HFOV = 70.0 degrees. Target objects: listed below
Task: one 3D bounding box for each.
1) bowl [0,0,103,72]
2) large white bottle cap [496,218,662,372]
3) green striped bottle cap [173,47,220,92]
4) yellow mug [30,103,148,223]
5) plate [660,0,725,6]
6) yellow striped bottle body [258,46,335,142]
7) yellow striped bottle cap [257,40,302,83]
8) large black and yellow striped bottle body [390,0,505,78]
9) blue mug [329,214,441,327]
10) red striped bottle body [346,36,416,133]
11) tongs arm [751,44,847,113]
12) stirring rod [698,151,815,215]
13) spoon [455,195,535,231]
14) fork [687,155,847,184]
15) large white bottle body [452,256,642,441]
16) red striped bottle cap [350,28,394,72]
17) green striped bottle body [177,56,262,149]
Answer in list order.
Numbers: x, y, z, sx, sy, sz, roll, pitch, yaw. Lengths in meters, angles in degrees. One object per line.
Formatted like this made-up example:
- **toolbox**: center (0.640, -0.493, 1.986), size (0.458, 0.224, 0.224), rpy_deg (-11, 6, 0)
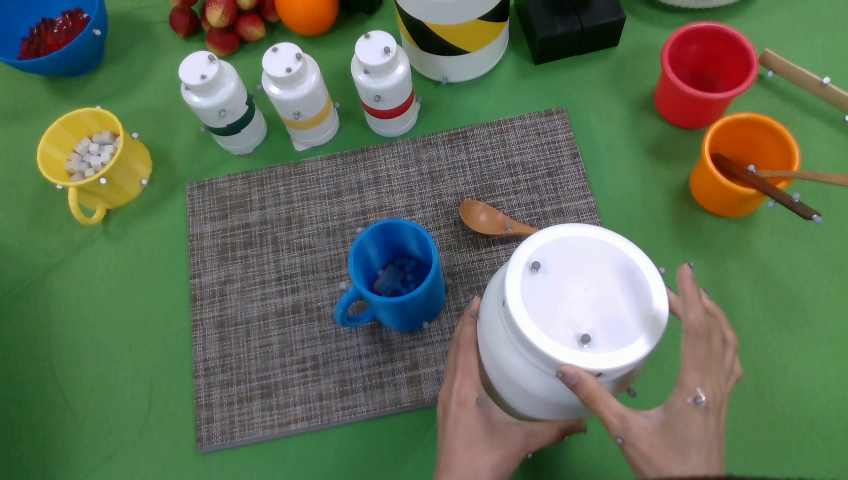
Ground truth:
- **bowl**: center (-0.465, -0.266, 0.759), size (0.151, 0.077, 0.150), rpy_deg (-1, 69, 4)
- **large white bottle cap**: center (0.109, 0.035, 0.426), size (0.115, 0.018, 0.114), rpy_deg (2, 59, -3)
- **green striped bottle cap**: center (-0.235, -0.176, 0.626), size (0.044, 0.020, 0.044), rpy_deg (-1, 68, 3)
- **yellow mug**: center (-0.381, -0.082, 0.688), size (0.100, 0.064, 0.130), rpy_deg (-2, 69, 4)
- **plate**: center (0.327, -0.372, 0.753), size (0.209, 0.038, 0.207), rpy_deg (-1, 70, 4)
- **yellow striped bottle body**: center (-0.142, -0.165, 0.670), size (0.063, 0.121, 0.062), rpy_deg (-2, 68, 5)
- **yellow striped bottle cap**: center (-0.148, -0.184, 0.621), size (0.044, 0.019, 0.044), rpy_deg (0, 64, 1)
- **large black and yellow striped bottle body**: center (0.024, -0.284, 0.667), size (0.131, 0.185, 0.130), rpy_deg (-2, 69, 5)
- **blue mug**: center (-0.041, 0.042, 0.587), size (0.116, 0.106, 0.081), rpy_deg (-36, 70, -8)
- **red striped bottle body**: center (-0.047, -0.175, 0.666), size (0.063, 0.120, 0.062), rpy_deg (-3, 68, 7)
- **tongs arm**: center (0.532, -0.114, 0.639), size (0.382, 0.027, 0.050), rpy_deg (39, 73, 16)
- **stirring rod**: center (0.313, -0.059, 0.583), size (0.014, 0.006, 0.174), rpy_deg (-9, 25, -2)
- **spoon**: center (0.124, -0.007, 0.636), size (0.193, 0.022, 0.041), rpy_deg (18, 51, 11)
- **fork**: center (0.344, -0.063, 0.574), size (0.028, 0.019, 0.205), rpy_deg (-49, 29, -13)
- **large white bottle body**: center (0.100, 0.082, 0.504), size (0.131, 0.186, 0.129), rpy_deg (3, 58, -5)
- **red striped bottle cap**: center (-0.053, -0.195, 0.617), size (0.044, 0.018, 0.044), rpy_deg (0, 67, 1)
- **green striped bottle body**: center (-0.229, -0.157, 0.675), size (0.063, 0.120, 0.062), rpy_deg (-1, 69, 4)
